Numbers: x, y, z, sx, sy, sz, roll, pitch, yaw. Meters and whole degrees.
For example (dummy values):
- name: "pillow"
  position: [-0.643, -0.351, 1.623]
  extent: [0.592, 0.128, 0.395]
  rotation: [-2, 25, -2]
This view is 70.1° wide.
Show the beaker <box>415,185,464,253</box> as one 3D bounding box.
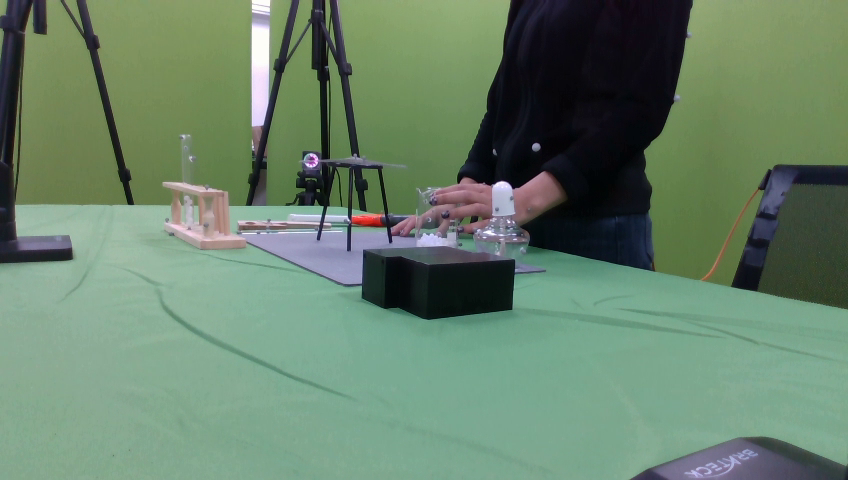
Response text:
- name: "beaker"
  position: [0.021, -0.033, 0.938]
  extent: [0.073, 0.100, 0.084]
  rotation: [7, 9, 36]

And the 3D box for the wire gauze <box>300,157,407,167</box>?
- name: "wire gauze"
  position: [-0.112, -0.126, 0.959]
  extent: [0.121, 0.011, 0.126]
  rotation: [11, 11, 41]

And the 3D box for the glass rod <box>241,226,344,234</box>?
- name: "glass rod"
  position: [-0.239, -0.019, 1.119]
  extent: [0.201, 0.008, 0.008]
  rotation: [-3, 9, -34]

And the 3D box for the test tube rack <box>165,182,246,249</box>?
- name: "test tube rack"
  position: [-0.360, -0.045, 0.982]
  extent: [0.067, 0.085, 0.241]
  rotation: [-3, 9, -34]

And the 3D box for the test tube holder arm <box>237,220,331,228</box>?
- name: "test tube holder arm"
  position: [-0.260, -0.029, 1.140]
  extent: [0.179, 0.015, 0.013]
  rotation: [-2, 41, -32]

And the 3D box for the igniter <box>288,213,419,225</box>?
- name: "igniter"
  position: [-0.145, -0.044, 1.278]
  extent: [0.278, 0.025, 0.057]
  rotation: [-1, -2, -21]

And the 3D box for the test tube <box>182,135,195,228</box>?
- name: "test tube"
  position: [-0.382, -0.095, 0.983]
  extent: [0.017, 0.150, 0.017]
  rotation: [-1, 2, 0]

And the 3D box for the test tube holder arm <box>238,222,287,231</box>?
- name: "test tube holder arm"
  position: [-0.296, -0.024, 1.112]
  extent: [0.088, 0.015, 0.010]
  rotation: [-2, 41, -32]

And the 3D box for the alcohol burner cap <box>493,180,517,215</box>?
- name: "alcohol burner cap"
  position: [0.107, -0.057, 0.812]
  extent: [0.034, 0.048, 0.034]
  rotation: [-7, 11, 2]

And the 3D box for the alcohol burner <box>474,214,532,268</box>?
- name: "alcohol burner"
  position: [0.107, -0.022, 0.819]
  extent: [0.078, 0.119, 0.078]
  rotation: [1, 9, 0]

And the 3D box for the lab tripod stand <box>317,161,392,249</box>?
- name: "lab tripod stand"
  position: [-0.111, -0.059, 0.963]
  extent: [0.148, 0.131, 0.148]
  rotation: [4, 8, 0]
